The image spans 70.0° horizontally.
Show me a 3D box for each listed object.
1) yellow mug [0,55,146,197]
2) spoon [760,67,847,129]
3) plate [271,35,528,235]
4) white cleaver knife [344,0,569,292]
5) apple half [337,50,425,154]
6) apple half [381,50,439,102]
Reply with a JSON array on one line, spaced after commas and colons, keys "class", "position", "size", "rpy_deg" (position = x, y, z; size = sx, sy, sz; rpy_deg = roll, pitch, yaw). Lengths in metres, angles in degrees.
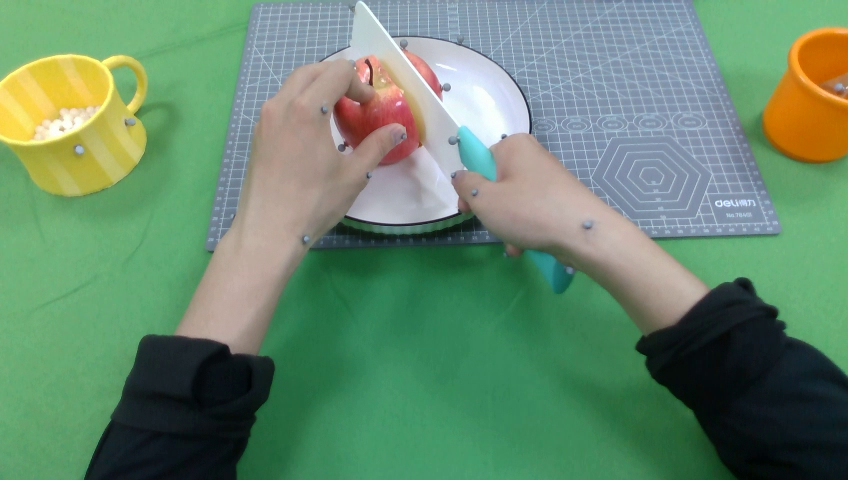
[{"class": "yellow mug", "position": [-0.287, -0.106, 0.507], "size": [0.099, 0.064, 0.130], "rpy_deg": [29, 62, 17]}, {"class": "spoon", "position": [0.364, -0.146, 0.474], "size": [0.022, 0.194, 0.041], "rpy_deg": [24, 46, -37]}, {"class": "plate", "position": [-0.020, -0.088, 0.505], "size": [0.209, 0.038, 0.207], "rpy_deg": [0, 58, 1]}, {"class": "white cleaver knife", "position": [0.014, -0.076, 0.453], "size": [0.021, 0.066, 0.284], "rpy_deg": [-26, 67, -20]}, {"class": "apple half", "position": [-0.037, -0.101, 0.479], "size": [0.053, 0.075, 0.080], "rpy_deg": [-44, 64, -7]}, {"class": "apple half", "position": [-0.009, -0.118, 0.494], "size": [0.033, 0.082, 0.080], "rpy_deg": [-28, 61, -21]}]
